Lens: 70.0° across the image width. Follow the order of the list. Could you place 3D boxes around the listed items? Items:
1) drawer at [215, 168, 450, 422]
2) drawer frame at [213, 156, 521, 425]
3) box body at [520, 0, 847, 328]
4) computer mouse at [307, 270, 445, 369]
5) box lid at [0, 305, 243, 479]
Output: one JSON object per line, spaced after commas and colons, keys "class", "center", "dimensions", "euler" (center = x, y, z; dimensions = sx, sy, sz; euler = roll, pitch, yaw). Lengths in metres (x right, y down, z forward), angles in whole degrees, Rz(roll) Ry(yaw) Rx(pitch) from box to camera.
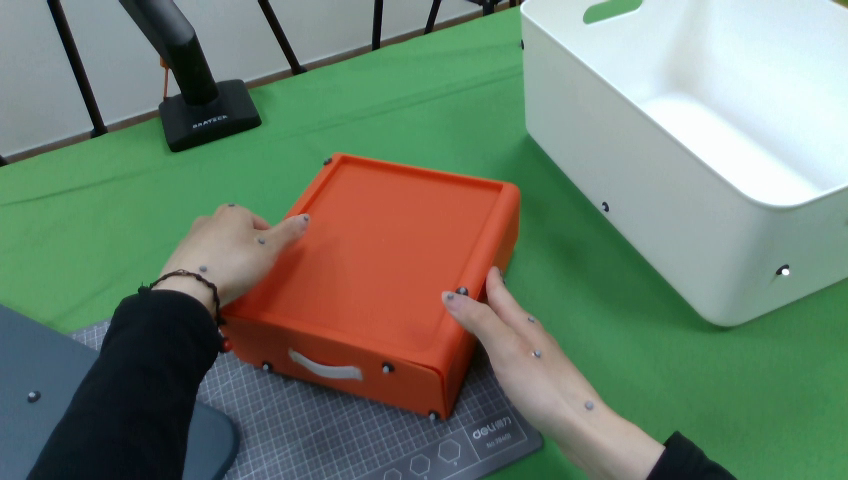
{"class": "drawer", "center": [-0.039, 0.034, 0.540], "dimensions": [0.193, 0.074, 0.210], "euler": [11, 47, 19]}
{"class": "drawer frame", "center": [-0.038, 0.030, 0.540], "dimensions": [0.201, 0.083, 0.212], "euler": [11, 47, 18]}
{"class": "box body", "center": [0.281, -0.115, 0.586], "dimensions": [0.254, 0.162, 0.359], "euler": [-20, 47, -11]}
{"class": "computer mouse", "center": [-0.041, 0.065, 0.526], "dimensions": [0.116, 0.041, 0.062], "euler": [20, 48, 17]}
{"class": "box lid", "center": [-0.353, 0.195, 0.481], "dimensions": [0.369, 0.015, 0.262], "euler": [16, 51, 23]}
